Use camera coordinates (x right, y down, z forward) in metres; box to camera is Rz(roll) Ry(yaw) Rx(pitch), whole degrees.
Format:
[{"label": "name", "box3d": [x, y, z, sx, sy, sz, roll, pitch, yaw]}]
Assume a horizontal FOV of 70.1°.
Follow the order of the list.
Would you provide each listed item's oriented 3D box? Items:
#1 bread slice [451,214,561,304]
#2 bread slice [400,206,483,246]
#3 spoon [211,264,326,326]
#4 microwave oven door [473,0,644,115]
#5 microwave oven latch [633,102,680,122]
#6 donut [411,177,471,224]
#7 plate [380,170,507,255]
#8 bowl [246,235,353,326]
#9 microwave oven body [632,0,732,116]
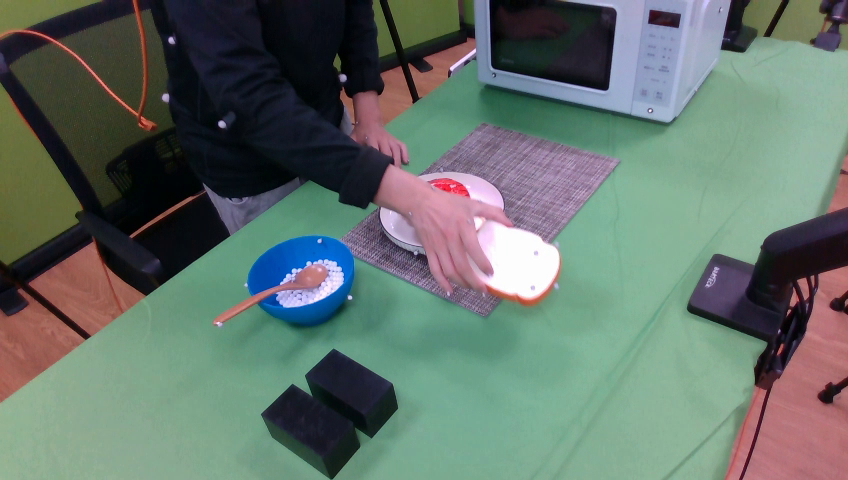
[{"label": "bread slice", "box3d": [0.115, 0.024, 0.802, 0.130, 0.019, 0.105, 22, 67, 25]}, {"label": "bread slice", "box3d": [0.039, -0.034, 0.992, 0.107, 0.018, 0.133, -21, 36, -21]}, {"label": "spoon", "box3d": [-0.208, 0.072, 0.822, 0.041, 0.021, 0.195, 28, 29, 26]}, {"label": "microwave oven door", "box3d": [0.257, -0.396, 1.199, 0.353, 0.245, 0.039, 21, 48, 29]}, {"label": "microwave oven latch", "box3d": [0.444, -0.249, 1.157, 0.078, 0.029, 0.030, 21, 49, 30]}, {"label": "donut", "box3d": [0.028, -0.064, 0.978, 0.099, 0.048, 0.098, -4, 39, 4]}, {"label": "plate", "box3d": [0.033, -0.042, 0.995, 0.207, 0.039, 0.206, -4, 40, 4]}, {"label": "bowl", "box3d": [-0.170, 0.070, 0.868, 0.151, 0.077, 0.150, -4, 41, 4]}, {"label": "microwave oven body", "box3d": [0.377, -0.463, 1.267, 0.438, 0.261, 0.327, 21, 49, 30]}]
